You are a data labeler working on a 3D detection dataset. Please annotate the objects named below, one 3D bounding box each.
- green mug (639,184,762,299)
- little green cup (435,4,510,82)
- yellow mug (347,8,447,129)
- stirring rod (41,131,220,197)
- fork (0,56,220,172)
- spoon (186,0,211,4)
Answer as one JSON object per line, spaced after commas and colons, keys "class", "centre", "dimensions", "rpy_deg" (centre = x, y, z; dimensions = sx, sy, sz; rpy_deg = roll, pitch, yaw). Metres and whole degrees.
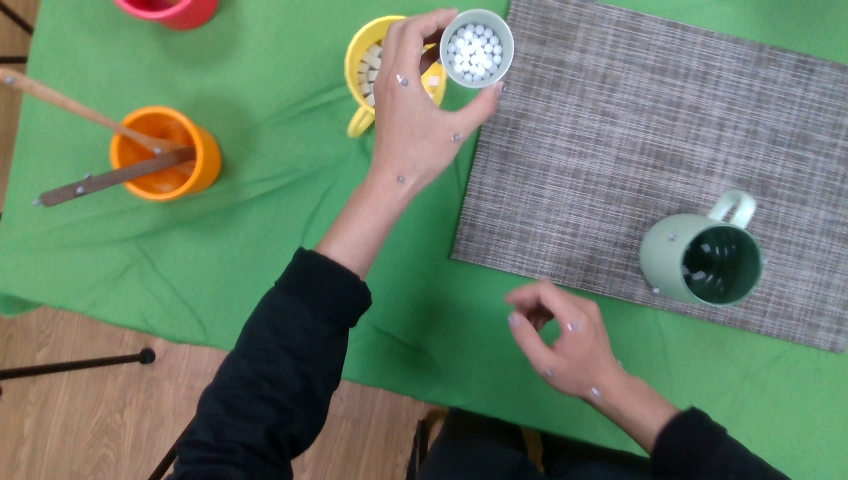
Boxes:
{"class": "green mug", "centre": [0.285, -0.002, 0.613], "dimensions": [0.092, 0.105, 0.125], "rpy_deg": [31, 95, -2]}
{"class": "little green cup", "centre": [0.040, -0.163, 0.510], "dimensions": [0.061, 0.038, 0.062], "rpy_deg": [0, 102, 1]}
{"class": "yellow mug", "centre": [-0.035, -0.166, 0.622], "dimensions": [0.100, 0.064, 0.131], "rpy_deg": [39, 95, -4]}
{"class": "stirring rod", "centre": [-0.280, -0.078, 0.595], "dimensions": [0.176, 0.006, 0.014], "rpy_deg": [-30, 97, -39]}
{"class": "fork", "centre": [-0.292, -0.118, 0.585], "dimensions": [0.209, 0.018, 0.028], "rpy_deg": [28, 93, -45]}
{"class": "spoon", "centre": [-0.288, -0.282, 0.573], "dimensions": [0.195, 0.021, 0.041], "rpy_deg": [17, 96, -45]}
